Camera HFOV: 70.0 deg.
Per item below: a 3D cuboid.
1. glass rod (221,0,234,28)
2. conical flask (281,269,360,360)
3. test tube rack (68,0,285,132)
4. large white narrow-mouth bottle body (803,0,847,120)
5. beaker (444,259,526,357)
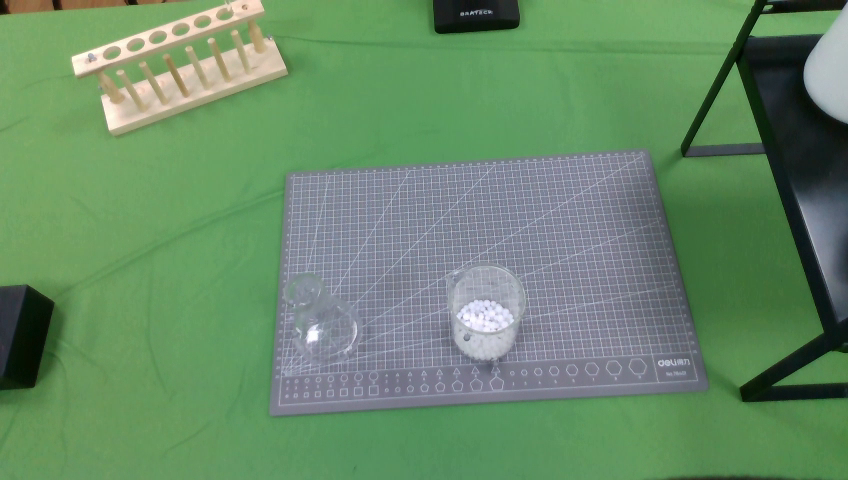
[{"bbox_3d":[-0.250,-0.305,0.748,0.008,0.201,0.008,1,62,-2],"label":"glass rod"},{"bbox_3d":[-0.109,0.069,0.607,0.075,0.123,0.074,-1,63,3],"label":"conical flask"},{"bbox_3d":[-0.315,-0.232,0.789,0.242,0.086,0.066,-23,64,-9],"label":"test tube rack"},{"bbox_3d":[0.389,-0.186,0.472,0.102,0.196,0.101,-2,62,4],"label":"large white narrow-mouth bottle body"},{"bbox_3d":[0.057,0.071,0.611,0.083,0.101,0.074,31,68,18],"label":"beaker"}]
